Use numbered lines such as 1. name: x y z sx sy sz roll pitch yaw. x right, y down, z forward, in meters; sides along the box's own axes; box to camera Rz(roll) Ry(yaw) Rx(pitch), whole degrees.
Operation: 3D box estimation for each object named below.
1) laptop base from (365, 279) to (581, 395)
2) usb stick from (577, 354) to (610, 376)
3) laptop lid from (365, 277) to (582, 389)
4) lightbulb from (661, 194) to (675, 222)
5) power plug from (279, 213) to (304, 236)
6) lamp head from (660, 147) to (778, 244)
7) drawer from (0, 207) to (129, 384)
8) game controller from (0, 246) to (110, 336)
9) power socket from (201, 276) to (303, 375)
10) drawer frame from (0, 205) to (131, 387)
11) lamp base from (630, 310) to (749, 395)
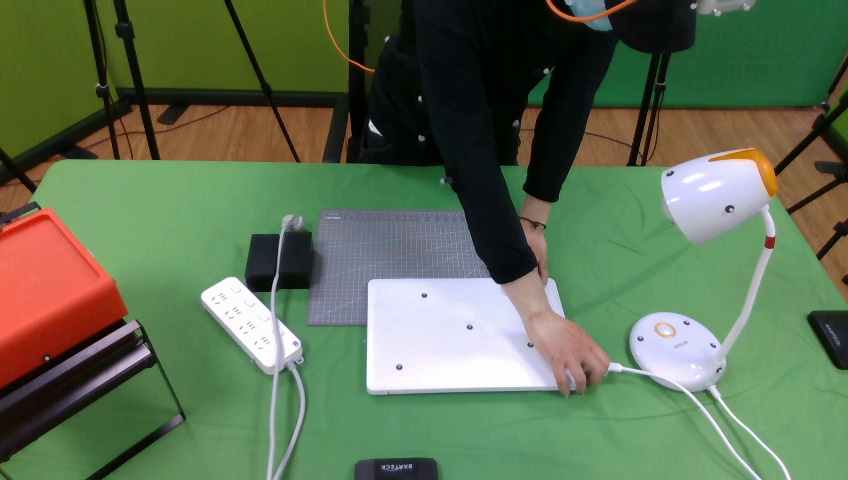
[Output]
1. laptop base: 0.077 0.162 1.053 0.355 0.023 0.234 0 44 -4
2. usb stick: 0.278 0.208 1.013 0.059 0.027 0.021 9 50 7
3. laptop lid: 0.077 0.153 1.046 0.357 0.013 0.240 1 45 -4
4. lightbulb: 0.369 -0.059 0.807 0.060 0.107 0.059 18 60 -35
5. power plug: -0.263 -0.021 1.184 0.035 0.053 0.072 6 49 32
6. lamp head: 0.389 -0.062 0.784 0.123 0.113 0.112 -22 32 37
7. drawer: -0.539 0.074 0.799 0.193 0.073 0.211 37 55 27
8. game controller: -0.511 0.063 0.830 0.097 0.052 0.154 -30 58 -32
9. power socket: -0.296 0.142 1.033 0.072 0.033 0.225 -34 58 -31
10. drawer frame: -0.539 0.076 0.795 0.200 0.083 0.213 36 54 26
11. lamp base: 0.447 0.143 0.984 0.161 0.181 0.178 -24 55 -24
